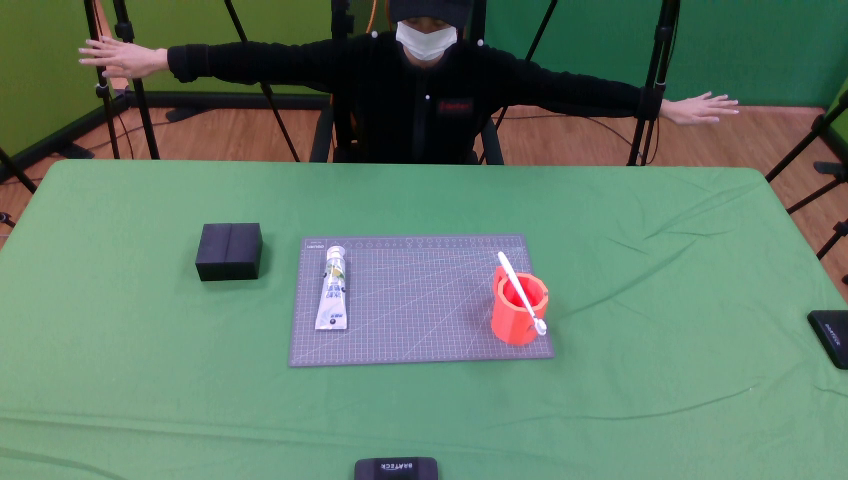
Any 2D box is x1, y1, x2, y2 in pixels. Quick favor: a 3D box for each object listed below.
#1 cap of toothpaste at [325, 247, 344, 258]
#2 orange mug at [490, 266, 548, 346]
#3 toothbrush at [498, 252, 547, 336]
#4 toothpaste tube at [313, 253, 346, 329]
[{"bbox_3d":[-0.169,0.027,1.143,0.037,0.037,0.011,-6,46,-10],"label":"cap of toothpaste"},{"bbox_3d":[0.155,0.107,1.051,0.083,0.101,0.125,-15,53,-18],"label":"orange mug"},{"bbox_3d":[0.160,0.083,1.001,0.014,0.017,0.180,-13,48,-12],"label":"toothbrush"},{"bbox_3d":[-0.167,0.089,1.092,0.055,0.035,0.164,-4,50,0],"label":"toothpaste tube"}]
